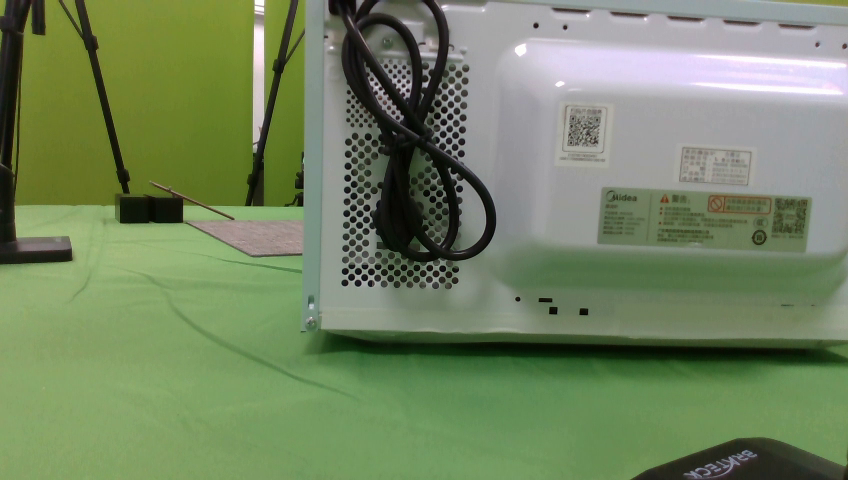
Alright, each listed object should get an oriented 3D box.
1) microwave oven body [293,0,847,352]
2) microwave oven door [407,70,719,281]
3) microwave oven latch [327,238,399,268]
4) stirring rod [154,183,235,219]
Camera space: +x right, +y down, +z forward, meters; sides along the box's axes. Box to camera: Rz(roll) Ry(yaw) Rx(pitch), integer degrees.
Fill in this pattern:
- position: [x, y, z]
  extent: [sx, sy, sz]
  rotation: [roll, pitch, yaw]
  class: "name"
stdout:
- position: [0.122, -0.055, 0.550]
  extent: [0.442, 0.260, 0.325]
  rotation: [3, 7, -5]
  class: "microwave oven body"
- position: [0.160, -0.084, 0.742]
  extent: [0.355, 0.243, 0.039]
  rotation: [4, 7, 12]
  class: "microwave oven door"
- position: [-0.069, 0.015, 0.694]
  extent: [0.079, 0.029, 0.030]
  rotation: [3, 7, -2]
  class: "microwave oven latch"
- position: [-0.472, -0.079, 1.252]
  extent: [0.177, 0.006, 0.014]
  rotation: [27, 3, -35]
  class: "stirring rod"
